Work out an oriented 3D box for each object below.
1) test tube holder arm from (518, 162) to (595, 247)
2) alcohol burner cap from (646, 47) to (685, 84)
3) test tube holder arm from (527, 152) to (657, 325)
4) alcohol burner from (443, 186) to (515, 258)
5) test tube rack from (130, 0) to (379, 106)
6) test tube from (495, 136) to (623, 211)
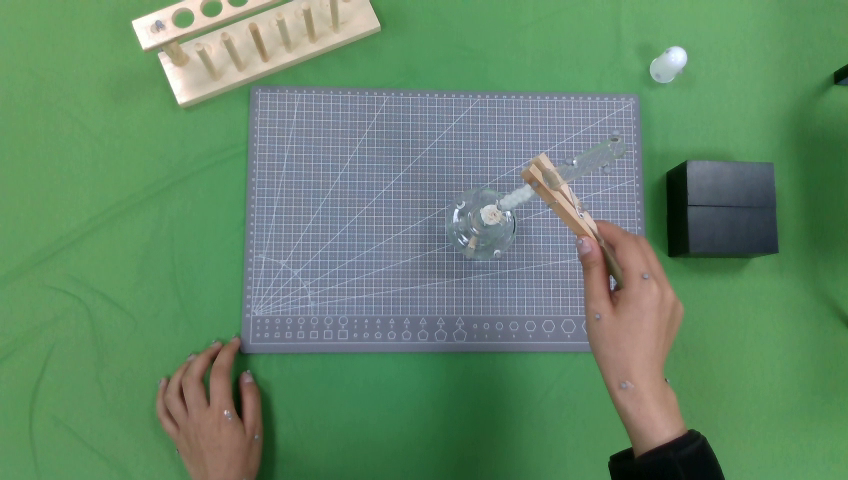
[{"bbox_3d":[0.110,-0.028,0.492,0.088,0.015,0.010,45,65,-14],"label":"test tube holder arm"},{"bbox_3d":[0.284,-0.205,0.706,0.034,0.048,0.033,0,82,-2],"label":"alcohol burner cap"},{"bbox_3d":[0.142,0.002,0.504,0.013,0.015,0.179,-45,103,-25],"label":"test tube holder arm"},{"bbox_3d":[0.060,-0.021,0.628,0.078,0.119,0.077,1,83,-5],"label":"alcohol burner"},{"bbox_3d":[-0.173,-0.234,0.656,0.242,0.085,0.066,-24,84,-7],"label":"test tube rack"},{"bbox_3d":[0.100,-0.049,0.482,0.017,0.150,0.017,6,75,-25],"label":"test tube"}]
